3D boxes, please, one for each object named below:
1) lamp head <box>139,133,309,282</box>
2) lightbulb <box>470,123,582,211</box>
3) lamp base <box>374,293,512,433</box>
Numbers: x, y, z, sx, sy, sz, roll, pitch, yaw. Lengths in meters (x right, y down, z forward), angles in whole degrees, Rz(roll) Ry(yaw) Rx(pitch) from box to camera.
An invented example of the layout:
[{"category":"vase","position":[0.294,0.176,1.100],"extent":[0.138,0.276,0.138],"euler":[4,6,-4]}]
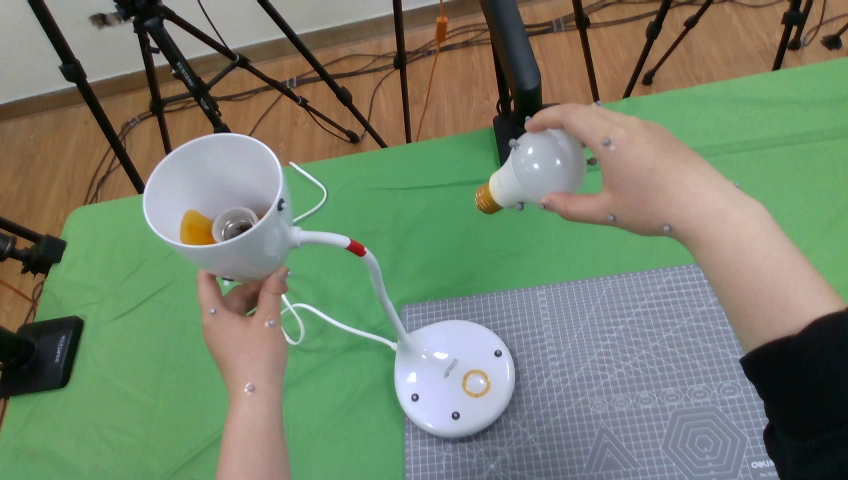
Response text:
[{"category":"lamp head","position":[-0.163,-0.016,0.530],"extent":[0.112,0.124,0.111],"euler":[-4,61,8]},{"category":"lightbulb","position":[0.077,-0.051,0.485],"extent":[0.107,0.060,0.059],"euler":[-29,44,45]},{"category":"lamp base","position":[0.009,0.131,0.743],"extent":[0.178,0.182,0.160],"euler":[13,62,24]}]
